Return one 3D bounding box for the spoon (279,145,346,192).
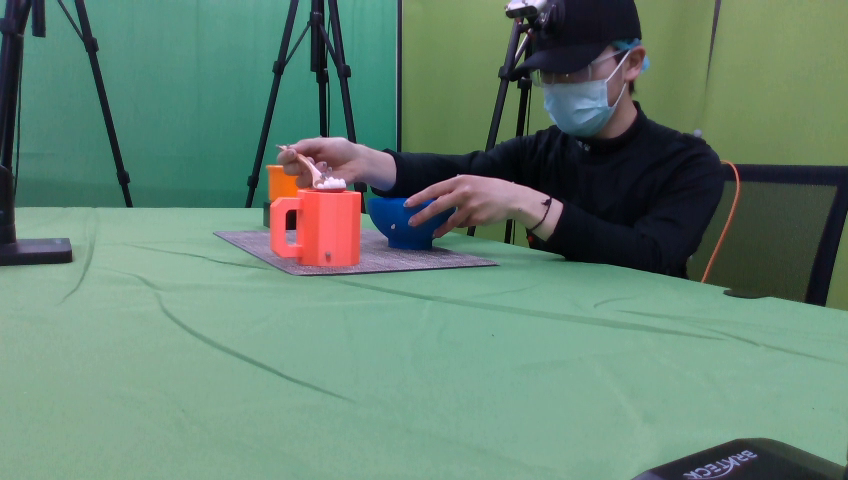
[{"bbox_3d":[-0.164,-0.104,0.855,0.042,0.021,0.192,-11,34,-31],"label":"spoon"}]

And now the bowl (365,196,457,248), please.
[{"bbox_3d":[-0.022,-0.030,1.000,0.151,0.077,0.151,2,7,0],"label":"bowl"}]

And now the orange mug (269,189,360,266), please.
[{"bbox_3d":[-0.143,-0.019,0.796,0.127,0.100,0.083,3,5,-39],"label":"orange mug"}]
